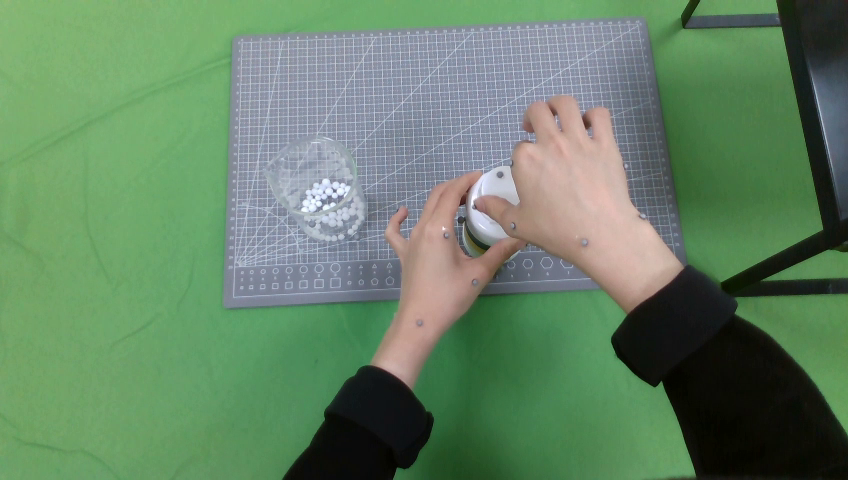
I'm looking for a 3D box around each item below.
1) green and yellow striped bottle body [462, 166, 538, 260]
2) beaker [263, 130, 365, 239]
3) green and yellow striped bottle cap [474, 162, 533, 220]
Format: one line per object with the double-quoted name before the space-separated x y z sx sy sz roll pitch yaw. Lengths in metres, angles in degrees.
"green and yellow striped bottle body" 0.066 -0.026 0.543 0.063 0.120 0.063 0 75 1
"beaker" -0.096 -0.046 0.561 0.084 0.101 0.073 8 74 4
"green and yellow striped bottle cap" 0.064 -0.040 0.487 0.045 0.020 0.045 4 71 -10
